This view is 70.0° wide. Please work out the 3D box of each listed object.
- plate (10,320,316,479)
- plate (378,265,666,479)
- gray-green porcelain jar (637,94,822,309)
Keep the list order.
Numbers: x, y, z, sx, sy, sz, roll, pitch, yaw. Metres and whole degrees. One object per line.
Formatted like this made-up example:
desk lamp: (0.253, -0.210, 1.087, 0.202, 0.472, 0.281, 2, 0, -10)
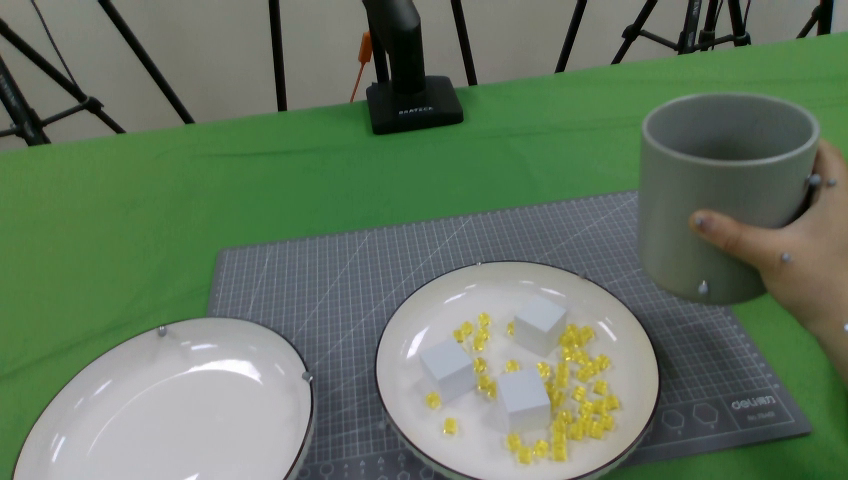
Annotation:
plate: (-0.178, 0.146, 0.435, 0.209, 0.038, 0.207, -4, 41, 4)
plate: (0.070, 0.102, 0.458, 0.207, 0.039, 0.205, -3, 40, 3)
gray-green porcelain jar: (0.206, -0.023, 0.427, 0.106, 0.128, 0.105, -8, 35, 6)
